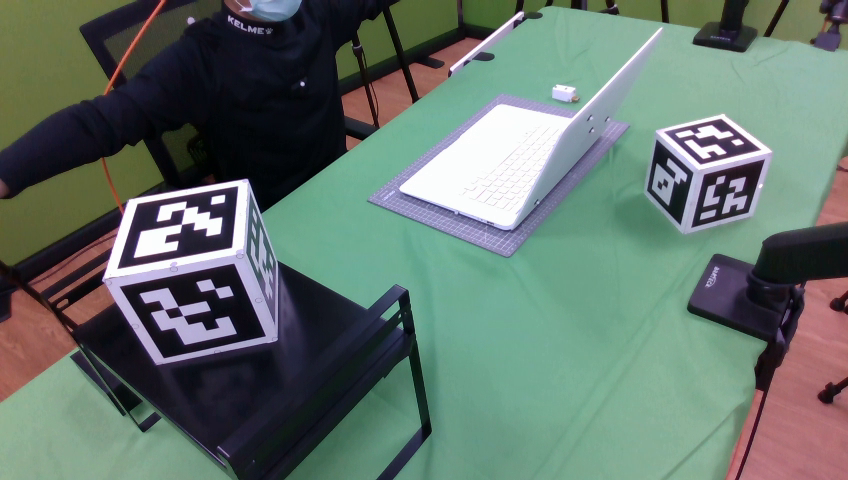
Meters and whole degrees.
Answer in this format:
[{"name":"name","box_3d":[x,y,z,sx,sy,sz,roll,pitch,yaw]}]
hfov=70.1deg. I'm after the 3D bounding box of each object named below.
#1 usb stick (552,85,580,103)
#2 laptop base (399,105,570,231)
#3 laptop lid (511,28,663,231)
[{"name":"usb stick","box_3d":[0.303,-0.308,1.282,0.059,0.027,0.021,25,46,29]},{"name":"laptop base","box_3d":[0.149,-0.147,1.123,0.233,0.023,0.355,20,47,32]},{"name":"laptop lid","box_3d":[0.265,-0.179,0.972,0.013,0.242,0.357,36,53,14]}]
